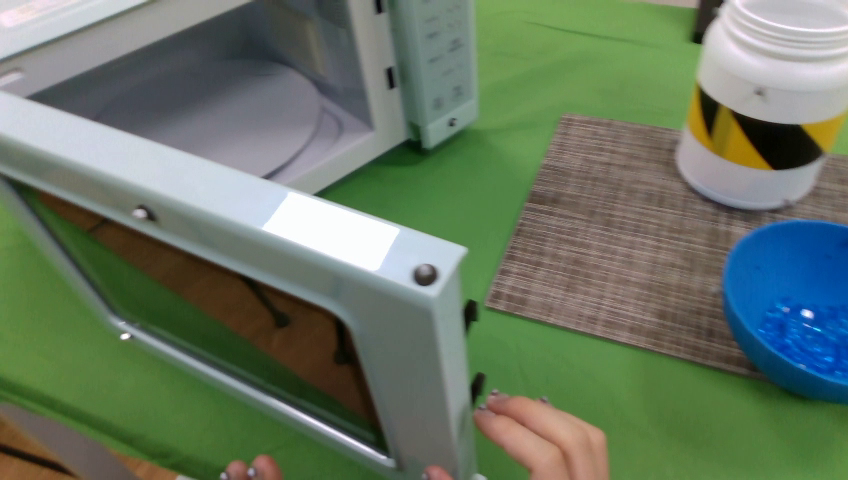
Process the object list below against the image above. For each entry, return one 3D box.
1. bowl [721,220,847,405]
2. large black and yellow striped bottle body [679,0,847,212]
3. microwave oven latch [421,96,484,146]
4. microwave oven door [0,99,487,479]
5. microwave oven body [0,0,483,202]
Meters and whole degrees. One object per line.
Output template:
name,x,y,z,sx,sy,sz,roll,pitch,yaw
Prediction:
bowl,0.293,0.065,0.448,0.151,0.077,0.150,-4,46,4
large black and yellow striped bottle body,0.321,-0.132,0.557,0.131,0.186,0.129,-3,47,4
microwave oven latch,0.032,-0.138,0.680,0.079,0.030,0.030,-33,52,-22
microwave oven door,-0.129,0.043,0.389,0.353,0.246,0.039,19,52,23
microwave oven body,-0.207,-0.187,0.622,0.441,0.263,0.322,-35,53,-23
